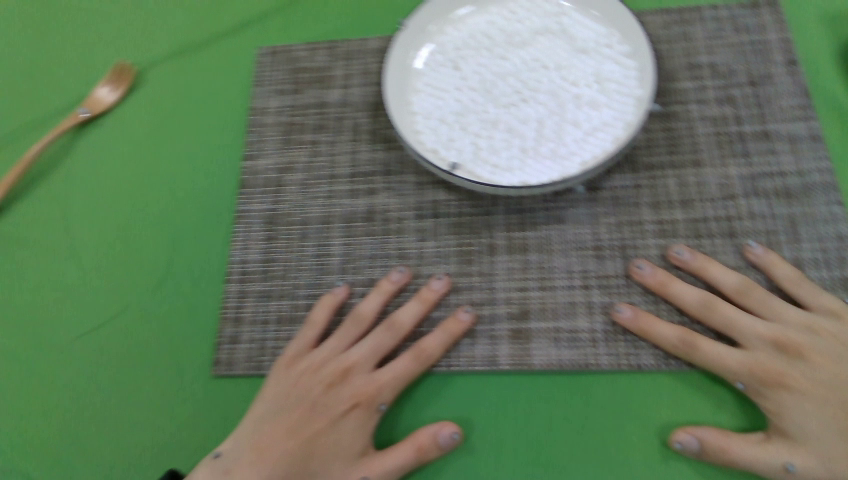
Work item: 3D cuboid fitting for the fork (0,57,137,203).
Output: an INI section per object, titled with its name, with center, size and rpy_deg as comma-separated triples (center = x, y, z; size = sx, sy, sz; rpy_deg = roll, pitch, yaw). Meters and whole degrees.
[fork]
center = -0.331, -0.086, 0.539
size = 0.028, 0.019, 0.207
rpy_deg = 35, 74, 10

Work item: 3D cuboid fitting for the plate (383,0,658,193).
[plate]
center = 0.072, -0.126, 0.478
size = 0.209, 0.038, 0.207
rpy_deg = -3, 66, 8
